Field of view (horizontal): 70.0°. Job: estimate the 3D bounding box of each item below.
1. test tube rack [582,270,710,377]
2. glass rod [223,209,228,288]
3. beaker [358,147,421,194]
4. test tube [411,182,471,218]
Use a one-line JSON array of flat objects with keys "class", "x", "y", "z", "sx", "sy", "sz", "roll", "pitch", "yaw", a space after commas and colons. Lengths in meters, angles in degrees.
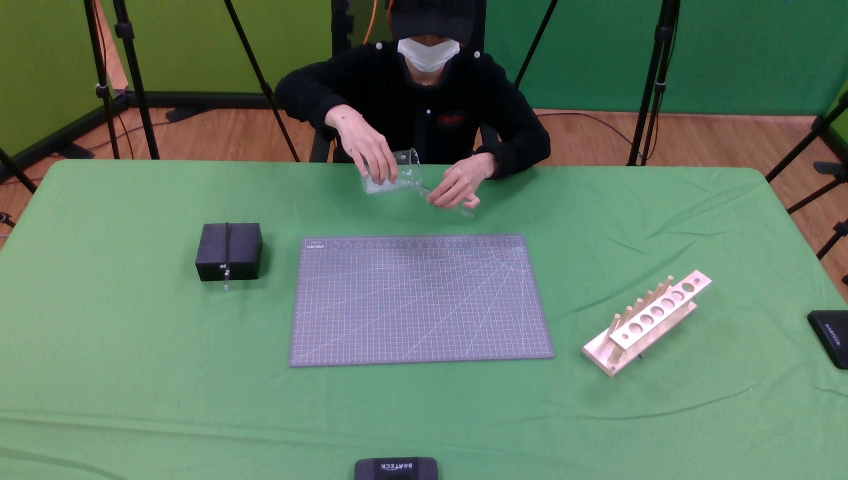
[{"class": "test tube rack", "x": 0.389, "y": 0.132, "z": 1.057, "sx": 0.242, "sy": 0.085, "sz": 0.066, "roll": -28, "pitch": 53, "yaw": -28}, {"class": "glass rod", "x": -0.360, "y": 0.010, "z": 1.098, "sx": 0.008, "sy": 0.008, "sz": 0.198, "roll": -7, "pitch": 47, "yaw": -12}, {"class": "beaker", "x": -0.064, "y": -0.122, "z": 1.093, "sx": 0.100, "sy": 0.084, "sz": 0.073, "roll": -9, "pitch": 42, "yaw": -13}, {"class": "test tube", "x": 0.035, "y": -0.076, "z": 1.172, "sx": 0.151, "sy": 0.017, "sz": 0.017, "roll": 25, "pitch": 35, "yaw": -34}]
